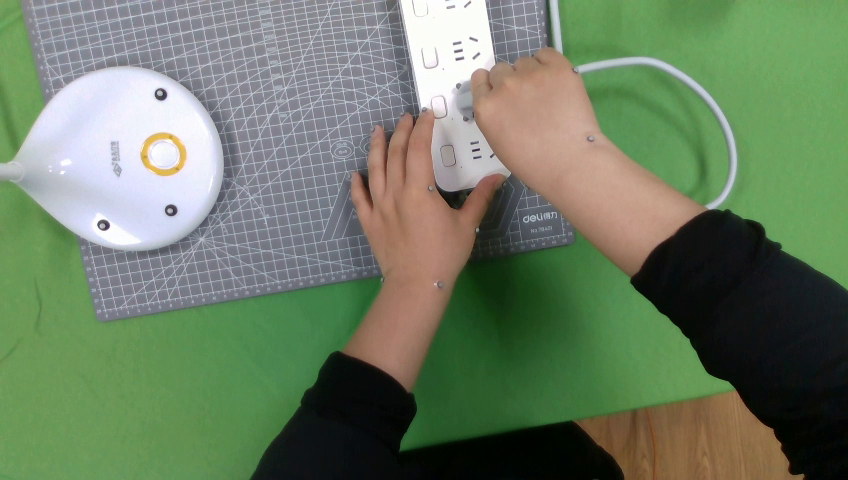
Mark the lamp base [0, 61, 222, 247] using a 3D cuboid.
[{"bbox_3d":[-0.268,-0.060,0.454,0.179,0.180,0.161,-15,98,3],"label":"lamp base"}]

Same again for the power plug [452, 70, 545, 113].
[{"bbox_3d":[0.060,-0.124,0.514,0.073,0.052,0.035,3,98,-6],"label":"power plug"}]

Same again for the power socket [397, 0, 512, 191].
[{"bbox_3d":[0.024,-0.155,0.526,0.072,0.032,0.227,-12,99,-1],"label":"power socket"}]
